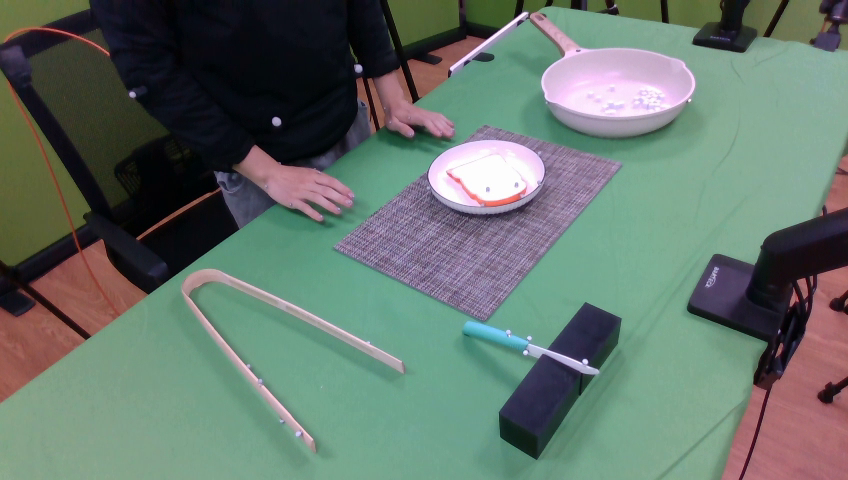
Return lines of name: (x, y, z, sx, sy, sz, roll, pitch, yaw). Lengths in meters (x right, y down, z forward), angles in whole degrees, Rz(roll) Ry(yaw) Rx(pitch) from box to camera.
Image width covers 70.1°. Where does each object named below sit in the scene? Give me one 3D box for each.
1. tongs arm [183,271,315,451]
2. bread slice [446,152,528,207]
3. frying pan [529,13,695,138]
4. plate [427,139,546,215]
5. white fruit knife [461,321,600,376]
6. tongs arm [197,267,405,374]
tongs arm: (-0.241, 0.147, 0.820, 0.051, 0.026, 0.381, -34, 46, -29)
bread slice: (0.117, -0.104, 1.057, 0.107, 0.018, 0.133, -24, 42, -17)
frying pan: (0.348, -0.368, 1.282, 0.308, 0.103, 0.484, -16, 50, -12)
plate: (0.109, -0.106, 1.058, 0.207, 0.039, 0.206, -4, 40, 4)
white fruit knife: (0.126, 0.133, 0.752, 0.205, 0.027, 0.016, 13, 44, 42)
tongs arm: (-0.187, 0.108, 0.864, 0.385, 0.028, 0.028, 20, 50, 28)
